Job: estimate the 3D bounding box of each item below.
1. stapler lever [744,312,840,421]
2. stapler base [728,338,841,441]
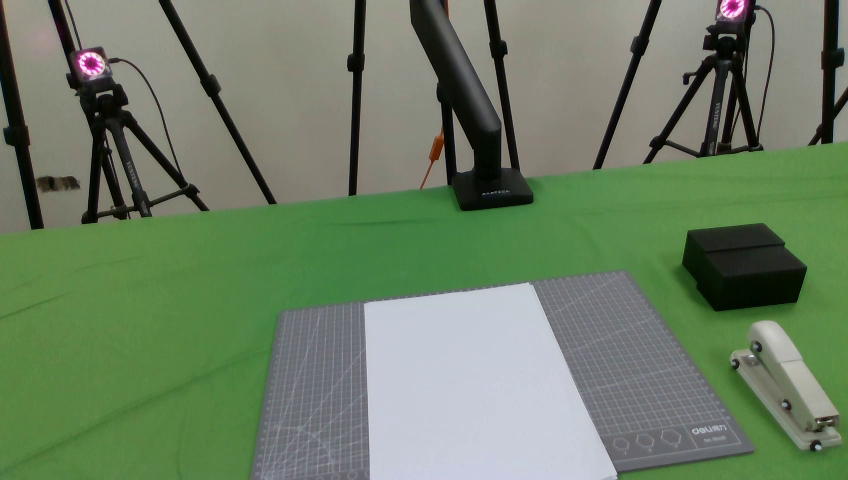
[{"bbox_3d":[0.345,0.114,0.571,0.027,0.040,0.117,-9,34,-3],"label":"stapler lever"},{"bbox_3d":[0.346,0.135,0.587,0.041,0.024,0.129,-9,34,-3],"label":"stapler base"}]
